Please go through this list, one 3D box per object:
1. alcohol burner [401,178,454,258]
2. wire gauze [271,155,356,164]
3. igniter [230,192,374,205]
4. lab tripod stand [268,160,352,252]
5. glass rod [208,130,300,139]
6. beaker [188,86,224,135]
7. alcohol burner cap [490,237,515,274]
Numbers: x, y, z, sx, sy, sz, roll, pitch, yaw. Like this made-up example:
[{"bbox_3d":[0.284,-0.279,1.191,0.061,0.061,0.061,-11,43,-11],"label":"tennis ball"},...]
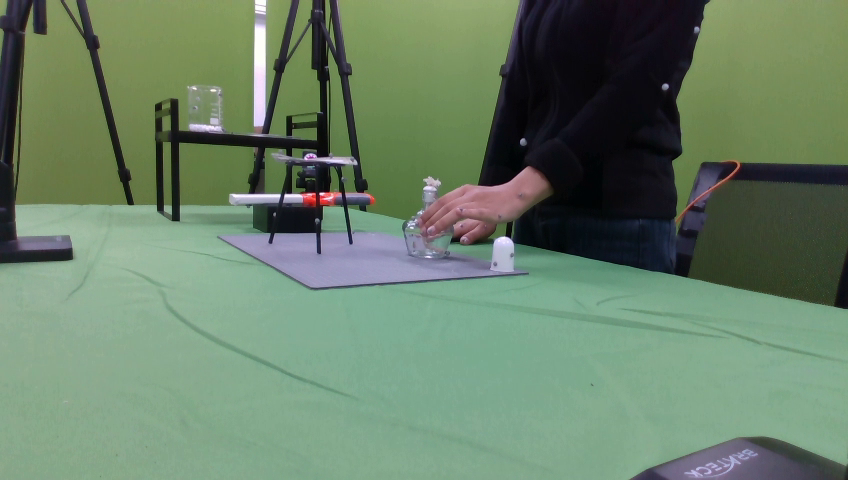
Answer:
[{"bbox_3d":[0.006,-0.033,0.889,0.078,0.119,0.078,4,6,0],"label":"alcohol burner"},{"bbox_3d":[-0.167,-0.122,0.917,0.125,0.011,0.121,0,7,-9],"label":"wire gauze"},{"bbox_3d":[-0.228,-0.079,1.164,0.278,0.025,0.057,-2,15,-30],"label":"igniter"},{"bbox_3d":[-0.171,-0.055,0.922,0.148,0.131,0.148,1,9,0],"label":"lab tripod stand"},{"bbox_3d":[-0.367,-0.231,1.321,0.201,0.008,0.008,-1,8,-30],"label":"glass rod"},{"bbox_3d":[-0.474,-0.280,1.311,0.074,0.100,0.084,5,8,26],"label":"beaker"},{"bbox_3d":[0.104,0.020,0.793,0.034,0.048,0.034,3,6,0],"label":"alcohol burner cap"}]
